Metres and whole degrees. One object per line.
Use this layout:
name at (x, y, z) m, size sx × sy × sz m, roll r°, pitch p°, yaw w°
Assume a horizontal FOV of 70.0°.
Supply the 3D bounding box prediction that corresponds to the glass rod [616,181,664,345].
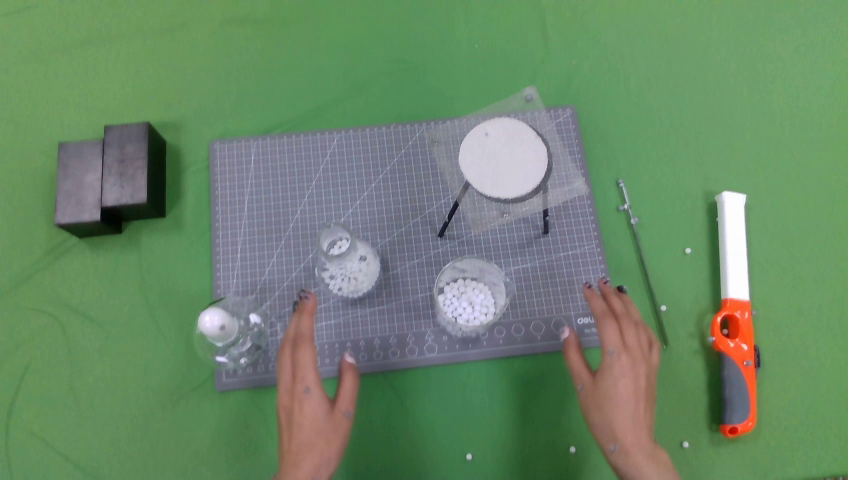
glass rod at (0.249, 0.023, 0.702) m, size 0.008 × 0.008 × 0.198 m, roll -8°, pitch 74°, yaw -4°

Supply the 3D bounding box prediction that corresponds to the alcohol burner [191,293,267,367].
alcohol burner at (-0.203, 0.090, 0.618) m, size 0.078 × 0.119 × 0.077 m, roll 1°, pitch 75°, yaw -2°

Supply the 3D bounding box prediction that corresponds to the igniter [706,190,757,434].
igniter at (0.343, 0.076, 0.680) m, size 0.057 × 0.025 × 0.275 m, roll 9°, pitch 74°, yaw -9°

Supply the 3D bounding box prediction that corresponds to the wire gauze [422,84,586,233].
wire gauze at (0.077, -0.080, 0.590) m, size 0.125 × 0.011 × 0.121 m, roll -22°, pitch 78°, yaw -6°

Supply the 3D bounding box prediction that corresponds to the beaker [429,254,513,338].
beaker at (0.046, 0.062, 0.638) m, size 0.084 × 0.101 × 0.073 m, roll -8°, pitch 74°, yaw -4°

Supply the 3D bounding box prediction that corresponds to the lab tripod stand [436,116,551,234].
lab tripod stand at (0.077, -0.061, 0.654) m, size 0.148 × 0.132 × 0.147 m, roll 0°, pitch 76°, yaw 0°

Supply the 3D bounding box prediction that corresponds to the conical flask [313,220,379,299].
conical flask at (-0.088, 0.016, 0.636) m, size 0.075 × 0.122 × 0.075 m, roll 0°, pitch 74°, yaw -1°

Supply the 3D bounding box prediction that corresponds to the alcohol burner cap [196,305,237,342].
alcohol burner cap at (-0.201, 0.078, 0.583) m, size 0.034 × 0.048 × 0.033 m, roll 2°, pitch 71°, yaw -5°
